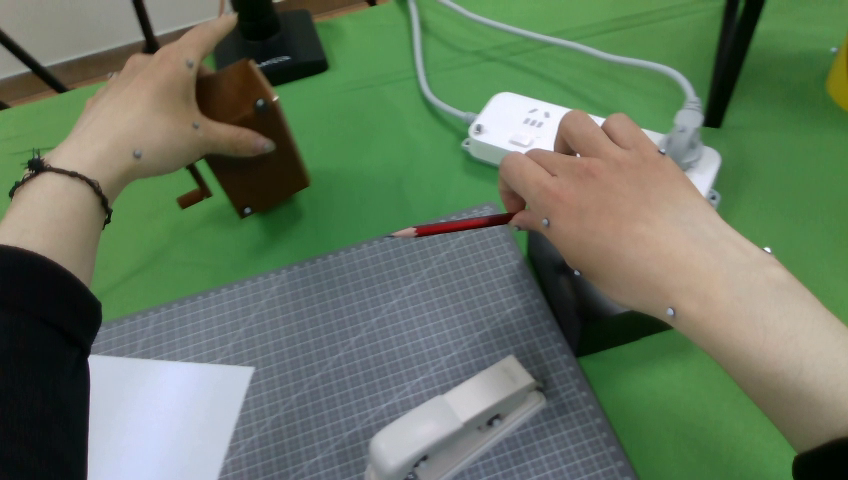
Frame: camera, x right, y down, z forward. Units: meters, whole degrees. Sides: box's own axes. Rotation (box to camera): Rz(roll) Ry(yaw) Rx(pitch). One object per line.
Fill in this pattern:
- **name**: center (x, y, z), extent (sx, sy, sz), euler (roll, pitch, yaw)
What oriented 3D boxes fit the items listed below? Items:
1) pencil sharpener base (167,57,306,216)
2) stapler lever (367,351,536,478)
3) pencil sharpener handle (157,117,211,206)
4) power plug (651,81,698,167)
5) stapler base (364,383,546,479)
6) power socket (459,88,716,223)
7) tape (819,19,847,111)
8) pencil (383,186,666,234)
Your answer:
- **pencil sharpener base**: center (-0.153, -0.081, 0.500), extent (0.077, 0.108, 0.061), euler (-30, 59, -13)
- **stapler lever**: center (0.018, 0.106, 0.381), extent (0.118, 0.040, 0.026), euler (-31, 56, -16)
- **pencil sharpener handle**: center (-0.194, -0.059, 0.475), extent (0.030, 0.068, 0.035), euler (-30, 38, -13)
- **power plug**: center (0.215, -0.088, 0.499), extent (0.035, 0.053, 0.072), euler (32, 64, 27)
- **stapler base**: center (0.020, 0.123, 0.400), extent (0.130, 0.024, 0.041), euler (-31, 57, -16)
- **power socket**: center (0.140, -0.079, 0.532), extent (0.225, 0.033, 0.072), euler (22, 59, 22)
- **tape**: center (0.427, -0.159, 0.541), extent (0.117, 0.053, 0.115), euler (-3, 54, 5)
- **pencil**: center (0.069, -0.019, 0.400), extent (0.194, 0.012, 0.012), euler (-8, 52, -9)
